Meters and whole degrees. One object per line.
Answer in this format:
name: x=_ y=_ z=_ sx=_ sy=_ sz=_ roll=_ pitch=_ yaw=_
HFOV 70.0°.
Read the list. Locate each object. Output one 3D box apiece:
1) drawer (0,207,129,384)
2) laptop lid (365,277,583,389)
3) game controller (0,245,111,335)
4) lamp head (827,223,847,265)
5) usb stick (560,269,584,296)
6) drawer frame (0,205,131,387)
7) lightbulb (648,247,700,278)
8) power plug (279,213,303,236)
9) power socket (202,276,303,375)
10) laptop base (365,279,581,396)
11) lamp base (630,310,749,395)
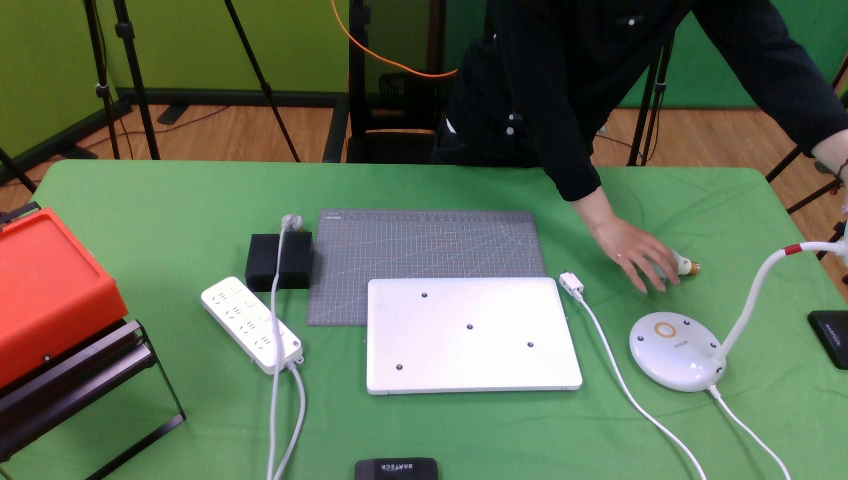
drawer: x=-0.539 y=0.074 z=0.798 sx=0.193 sy=0.073 sz=0.211 roll=37 pitch=55 yaw=27
laptop lid: x=0.077 y=0.152 z=1.046 sx=0.357 sy=0.013 sz=0.240 roll=1 pitch=45 yaw=-3
game controller: x=-0.510 y=0.062 z=0.830 sx=0.097 sy=0.052 sz=0.154 roll=-30 pitch=58 yaw=-30
lamp head: x=0.576 y=-0.003 z=0.752 sx=0.112 sy=0.123 sz=0.111 roll=1 pitch=47 yaw=-1
usb stick: x=0.275 y=0.077 z=1.142 sx=0.027 sy=0.021 sz=0.059 roll=-13 pitch=38 yaw=-12
drawer frame: x=-0.539 y=0.076 z=0.795 sx=0.200 sy=0.083 sz=0.213 roll=36 pitch=54 yaw=26
lightbulb: x=0.485 y=0.046 z=1.170 sx=0.108 sy=0.060 sz=0.059 roll=10 pitch=45 yaw=-15
power plug: x=-0.263 y=-0.021 z=1.184 sx=0.035 sy=0.053 sz=0.072 roll=0 pitch=48 yaw=31
power socket: x=-0.296 y=0.142 z=1.033 sx=0.072 sy=0.033 sz=0.225 roll=-34 pitch=58 yaw=-30
laptop base: x=0.077 y=0.162 z=1.053 sx=0.355 sy=0.023 sz=0.234 roll=0 pitch=44 yaw=-4
lamp base: x=0.447 y=0.143 z=0.984 sx=0.161 sy=0.181 sz=0.178 roll=-24 pitch=55 yaw=-24
